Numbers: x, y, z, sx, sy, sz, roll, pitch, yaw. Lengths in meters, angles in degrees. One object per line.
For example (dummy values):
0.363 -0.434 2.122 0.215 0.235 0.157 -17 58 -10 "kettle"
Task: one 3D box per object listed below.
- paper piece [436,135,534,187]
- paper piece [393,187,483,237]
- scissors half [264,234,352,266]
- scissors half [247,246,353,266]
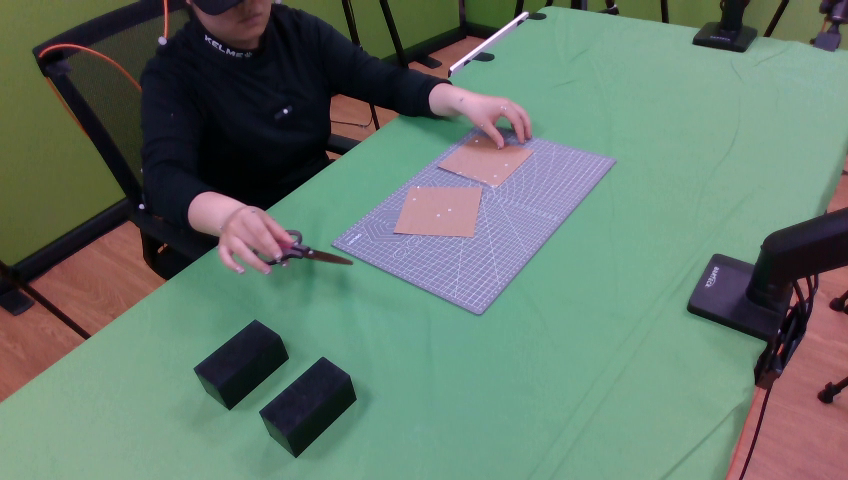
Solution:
0.116 -0.153 1.140 0.135 0.009 0.138 26 48 27 "paper piece"
0.027 -0.051 1.033 0.135 0.004 0.135 3 41 12 "paper piece"
-0.164 0.015 0.852 0.173 0.013 0.040 15 42 38 "scissors half"
-0.174 0.025 0.837 0.174 0.013 0.040 2 30 22 "scissors half"
